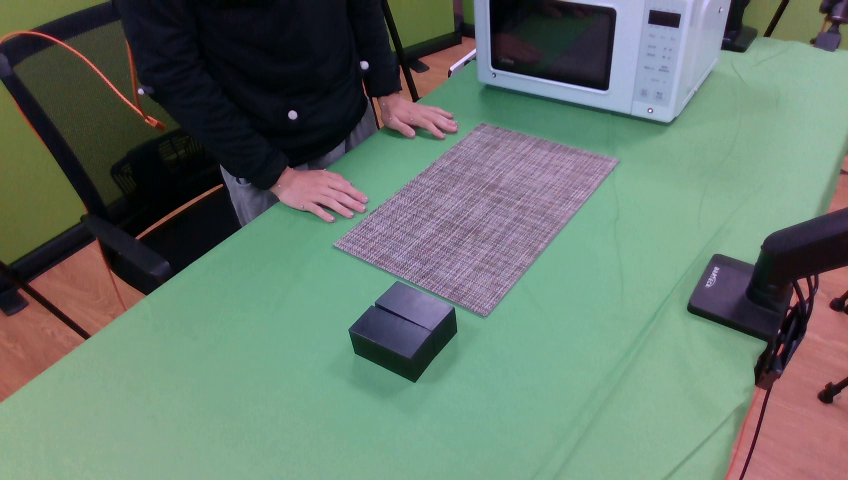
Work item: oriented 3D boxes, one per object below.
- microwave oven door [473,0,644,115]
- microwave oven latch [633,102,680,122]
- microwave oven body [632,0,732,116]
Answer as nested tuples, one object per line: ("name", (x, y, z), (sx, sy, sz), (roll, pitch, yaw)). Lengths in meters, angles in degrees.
("microwave oven door", (0.257, -0.396, 1.199), (0.353, 0.245, 0.039), (21, 48, 29))
("microwave oven latch", (0.444, -0.249, 1.157), (0.078, 0.029, 0.030), (21, 49, 30))
("microwave oven body", (0.377, -0.462, 1.267), (0.438, 0.261, 0.327), (21, 48, 30))
